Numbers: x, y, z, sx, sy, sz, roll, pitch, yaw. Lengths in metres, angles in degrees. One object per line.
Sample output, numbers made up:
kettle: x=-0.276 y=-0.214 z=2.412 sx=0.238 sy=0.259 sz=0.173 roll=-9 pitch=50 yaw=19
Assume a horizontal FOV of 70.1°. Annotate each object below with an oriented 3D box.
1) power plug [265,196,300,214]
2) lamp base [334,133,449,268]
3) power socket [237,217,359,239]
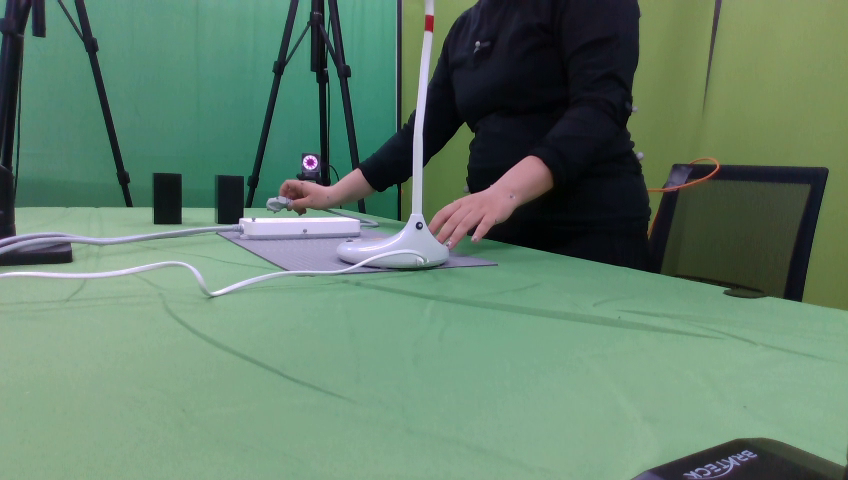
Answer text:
power plug: x=-0.331 y=-0.075 z=1.402 sx=0.073 sy=0.035 sz=0.052 roll=23 pitch=-42 yaw=-20
lamp base: x=-0.034 y=-0.057 z=0.830 sx=0.161 sy=0.180 sz=0.178 roll=-3 pitch=12 yaw=-36
power socket: x=-0.221 y=-0.023 z=1.080 sx=0.228 sy=0.032 sz=0.072 roll=-2 pitch=8 yaw=-32
